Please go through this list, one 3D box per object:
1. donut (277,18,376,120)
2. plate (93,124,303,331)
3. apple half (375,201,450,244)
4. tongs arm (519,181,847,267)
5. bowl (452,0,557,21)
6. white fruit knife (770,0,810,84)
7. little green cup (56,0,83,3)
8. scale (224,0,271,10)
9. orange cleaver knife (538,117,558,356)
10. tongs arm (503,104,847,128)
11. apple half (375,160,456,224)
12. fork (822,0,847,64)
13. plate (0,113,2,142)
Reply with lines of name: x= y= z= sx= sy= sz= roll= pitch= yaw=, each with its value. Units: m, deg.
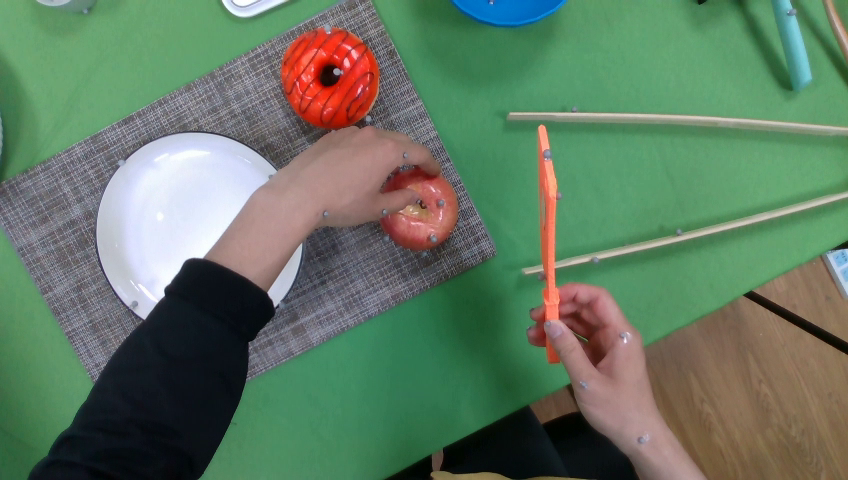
donut: x=-0.096 y=-0.168 z=0.600 sx=0.099 sy=0.048 sz=0.099 roll=0 pitch=98 yaw=1
plate: x=-0.225 y=-0.013 z=0.618 sx=0.209 sy=0.038 sz=0.209 roll=0 pitch=96 yaw=0
apple half: x=-0.015 y=-0.013 z=0.602 sx=0.081 sy=0.081 sz=0.033 roll=19 pitch=89 yaw=-2
tongs arm: x=0.284 y=-0.036 z=0.626 sx=0.385 sy=0.026 sz=0.051 roll=-12 pitch=92 yaw=0
bowl: x=0.074 y=-0.278 z=0.578 sx=0.151 sy=0.076 sz=0.151 roll=0 pitch=97 yaw=-1
white fruit knife: x=0.337 y=-0.245 z=0.583 sx=0.016 sy=0.027 sz=0.209 roll=-29 pitch=110 yaw=3
little green cup: x=-0.358 y=-0.264 z=0.594 sx=0.061 sy=0.038 sz=0.061 roll=0 pitch=96 yaw=0
scale: x=-0.166 y=-0.345 z=0.591 sx=0.148 sy=0.031 sz=0.201 roll=-23 pitch=96 yaw=2
orange cleaver knife: x=0.100 y=0.006 z=0.494 sx=0.012 sy=0.076 sz=0.213 roll=-4 pitch=127 yaw=8
tongs arm: x=0.274 y=-0.121 z=0.620 sx=0.388 sy=0.028 sz=0.028 roll=3 pitch=88 yaw=-1
apple half: x=-0.004 y=-0.051 z=0.599 sx=0.081 sy=0.074 sz=0.053 roll=17 pitch=91 yaw=2
fork: x=0.398 y=-0.235 z=0.593 sx=0.028 sy=0.018 sz=0.209 roll=-37 pitch=110 yaw=0
plate: x=-0.525 y=-0.119 z=0.608 sx=0.208 sy=0.039 sz=0.208 roll=0 pitch=96 yaw=0
